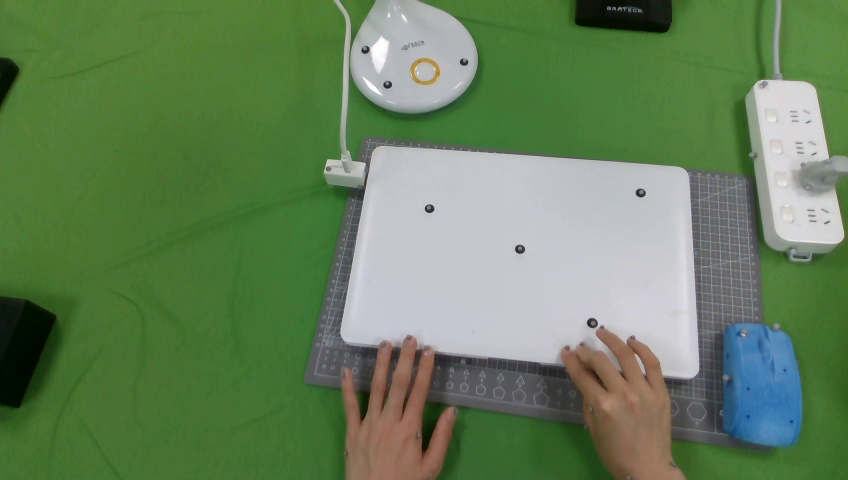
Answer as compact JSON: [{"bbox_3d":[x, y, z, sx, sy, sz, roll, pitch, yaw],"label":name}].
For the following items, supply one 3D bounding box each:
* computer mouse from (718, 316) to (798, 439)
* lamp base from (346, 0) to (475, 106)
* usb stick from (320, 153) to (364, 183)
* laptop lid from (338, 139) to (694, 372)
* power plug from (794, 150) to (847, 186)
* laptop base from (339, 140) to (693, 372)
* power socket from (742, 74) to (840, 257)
[{"bbox_3d":[0.315,0.127,0.574,0.062,0.041,0.116,9,63,8],"label":"computer mouse"},{"bbox_3d":[-0.028,-0.275,0.691,0.160,0.182,0.177,-30,65,-10],"label":"lamp base"},{"bbox_3d":[-0.085,-0.080,0.681,0.059,0.027,0.021,9,61,3],"label":"usb stick"},{"bbox_3d":[0.098,0.006,0.634,0.356,0.013,0.240,6,68,5],"label":"laptop lid"},{"bbox_3d":[0.428,-0.069,0.635,0.072,0.053,0.035,15,66,7],"label":"power plug"},{"bbox_3d":[0.100,0.010,0.648,0.354,0.023,0.234,5,70,4],"label":"laptop base"},{"bbox_3d":[0.403,-0.091,0.671,0.072,0.033,0.225,5,66,3],"label":"power socket"}]
